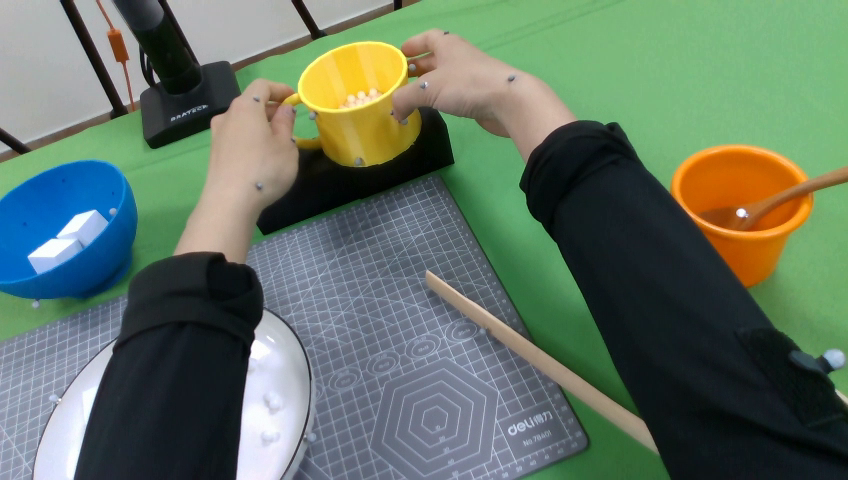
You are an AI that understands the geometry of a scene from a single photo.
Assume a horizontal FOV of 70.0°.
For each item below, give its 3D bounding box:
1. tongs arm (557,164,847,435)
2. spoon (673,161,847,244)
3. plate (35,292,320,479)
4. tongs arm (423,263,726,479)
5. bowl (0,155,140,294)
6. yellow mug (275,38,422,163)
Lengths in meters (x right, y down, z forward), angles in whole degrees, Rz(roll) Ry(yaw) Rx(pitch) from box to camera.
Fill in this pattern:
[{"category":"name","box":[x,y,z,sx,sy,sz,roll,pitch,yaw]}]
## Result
[{"category":"tongs arm","box":[0.204,0.067,0.418,0.051,0.027,0.380,-31,53,-14]},{"category":"spoon","box":[0.256,-0.034,0.411,0.022,0.193,0.041,38,59,-13]},{"category":"plate","box":[-0.174,0.133,0.447,0.207,0.039,0.205,-7,49,8]},{"category":"tongs arm","box":[0.140,0.114,0.397,0.384,0.028,0.028,33,61,31]},{"category":"bowl","box":[-0.330,-0.001,0.575,0.151,0.077,0.150,-7,50,9]},{"category":"yellow mug","box":[-0.072,-0.123,0.554,0.131,0.064,0.099,-19,50,0]}]
